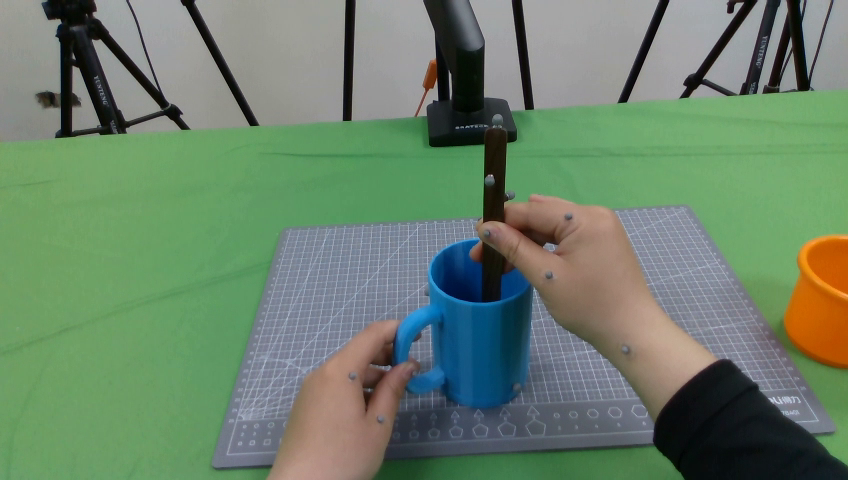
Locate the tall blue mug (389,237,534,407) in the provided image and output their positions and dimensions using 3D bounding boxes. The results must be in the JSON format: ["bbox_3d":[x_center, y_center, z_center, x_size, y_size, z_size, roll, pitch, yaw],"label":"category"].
[{"bbox_3d":[0.033,0.071,0.450,0.077,0.109,0.107,18,42,25],"label":"tall blue mug"}]

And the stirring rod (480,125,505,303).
[{"bbox_3d":[0.044,0.008,0.402,0.014,0.177,0.005,1,31,5],"label":"stirring rod"}]
